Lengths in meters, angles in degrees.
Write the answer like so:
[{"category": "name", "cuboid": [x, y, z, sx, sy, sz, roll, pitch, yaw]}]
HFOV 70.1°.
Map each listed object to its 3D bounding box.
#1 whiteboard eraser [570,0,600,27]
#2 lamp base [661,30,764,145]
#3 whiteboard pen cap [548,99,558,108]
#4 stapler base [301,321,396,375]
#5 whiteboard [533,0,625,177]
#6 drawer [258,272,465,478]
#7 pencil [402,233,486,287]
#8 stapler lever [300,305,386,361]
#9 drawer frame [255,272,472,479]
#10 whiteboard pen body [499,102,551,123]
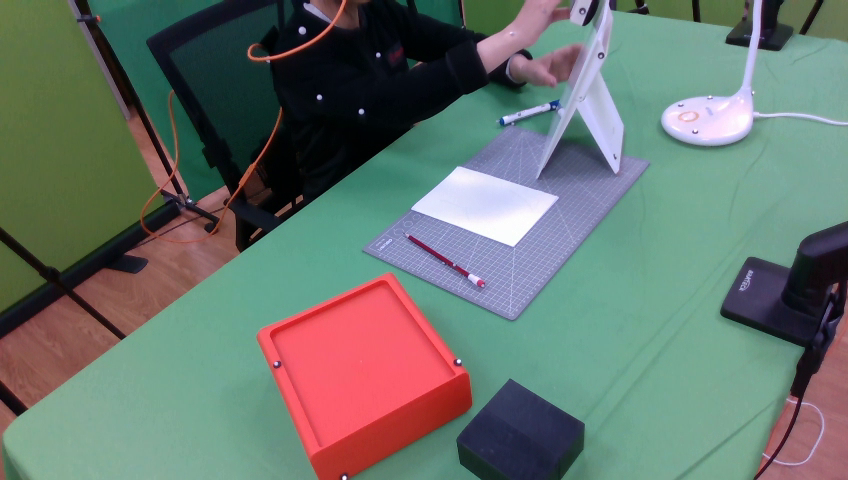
[{"category": "whiteboard eraser", "cuboid": [0.267, -0.400, 1.003, 0.042, 0.055, 0.112, 13, 41, 1]}, {"category": "lamp base", "cuboid": [0.535, -0.287, 1.096, 0.179, 0.181, 0.159, -10, 40, -4]}, {"category": "whiteboard pen cap", "cuboid": [0.275, -0.287, 1.269, 0.033, 0.018, 0.018, -17, 41, -14]}, {"category": "stapler base", "cuboid": [-0.103, 0.138, 0.814, 0.131, 0.024, 0.041, -20, 38, -12]}, {"category": "whiteboard", "cuboid": [0.321, -0.258, 1.049, 0.144, 0.306, 0.217, 20, 45, 4]}, {"category": "drawer", "cuboid": [-0.081, 0.160, 0.764, 0.195, 0.073, 0.210, -23, 43, -17]}, {"category": "pencil", "cuboid": [0.026, 0.027, 0.949, 0.012, 0.012, 0.192, -34, 44, -26]}, {"category": "stapler lever", "cuboid": [-0.107, 0.121, 0.799, 0.118, 0.040, 0.026, -19, 38, -13]}, {"category": "drawer frame", "cuboid": [-0.079, 0.161, 0.760, 0.202, 0.083, 0.211, -24, 43, -18]}, {"category": "whiteboard pen body", "cuboid": [0.220, -0.268, 1.256, 0.141, 0.017, 0.017, -19, 41, -14]}]
